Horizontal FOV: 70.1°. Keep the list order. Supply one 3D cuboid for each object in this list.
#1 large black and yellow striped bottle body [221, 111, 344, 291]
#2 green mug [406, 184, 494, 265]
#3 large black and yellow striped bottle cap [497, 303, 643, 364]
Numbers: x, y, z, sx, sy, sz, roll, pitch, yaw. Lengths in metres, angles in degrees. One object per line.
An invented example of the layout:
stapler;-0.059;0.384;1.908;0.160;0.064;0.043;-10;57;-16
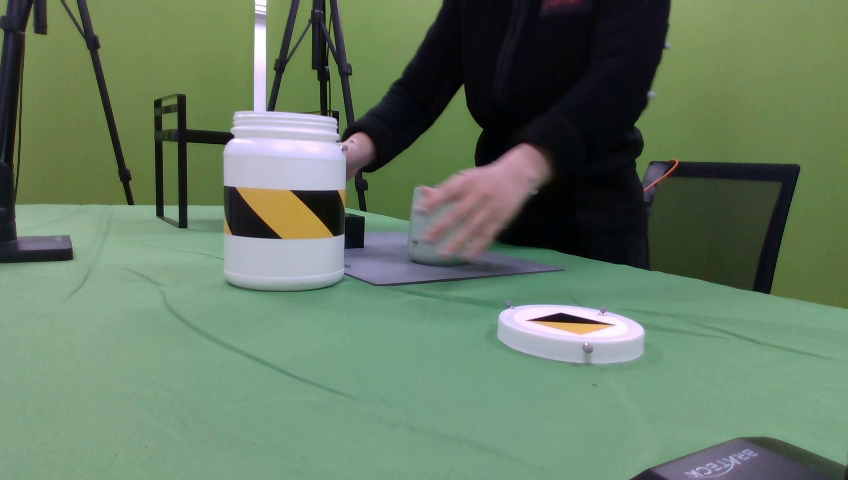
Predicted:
large black and yellow striped bottle body;-0.154;-0.045;0.666;0.131;0.184;0.130;2;8;0
green mug;0.037;-0.021;0.826;0.125;0.105;0.093;6;8;30
large black and yellow striped bottle cap;0.116;0.072;0.486;0.115;0.019;0.115;1;8;0
